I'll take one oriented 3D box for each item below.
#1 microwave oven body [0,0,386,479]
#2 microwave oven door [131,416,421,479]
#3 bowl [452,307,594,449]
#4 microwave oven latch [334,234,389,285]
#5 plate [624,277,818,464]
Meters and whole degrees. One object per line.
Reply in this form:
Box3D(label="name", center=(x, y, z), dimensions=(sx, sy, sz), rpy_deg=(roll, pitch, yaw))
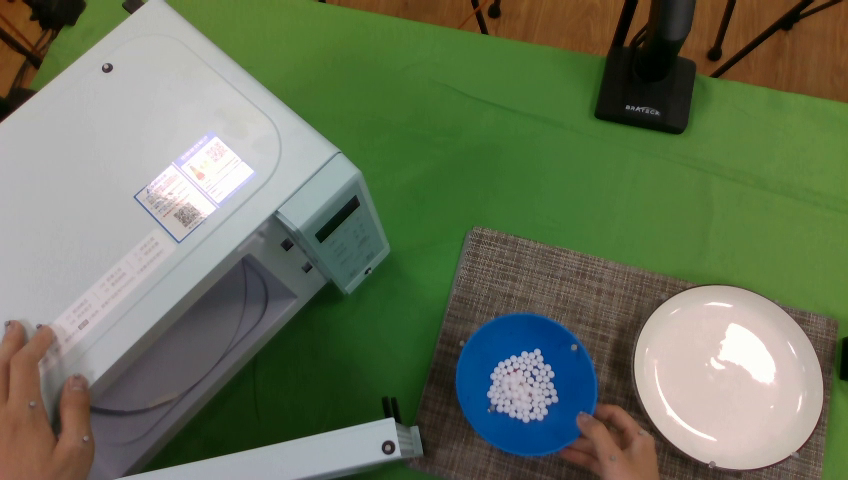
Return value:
Box3D(label="microwave oven body", center=(-0.313, 0.020, 0.656), dimensions=(0.324, 0.262, 0.441), rpy_deg=(41, 79, 14))
Box3D(label="microwave oven door", center=(-0.187, 0.221, 0.577), dimensions=(0.356, 0.245, 0.039), rpy_deg=(-13, 72, -1))
Box3D(label="bowl", center=(0.104, 0.157, 0.673), dimensions=(0.151, 0.077, 0.150), rpy_deg=(0, 68, 0))
Box3D(label="microwave oven latch", center=(-0.078, 0.018, 0.744), dimensions=(0.030, 0.030, 0.079), rpy_deg=(43, 80, 15))
Box3D(label="plate", center=(0.332, 0.147, 0.693), dimensions=(0.207, 0.039, 0.206), rpy_deg=(-1, 72, 3))
